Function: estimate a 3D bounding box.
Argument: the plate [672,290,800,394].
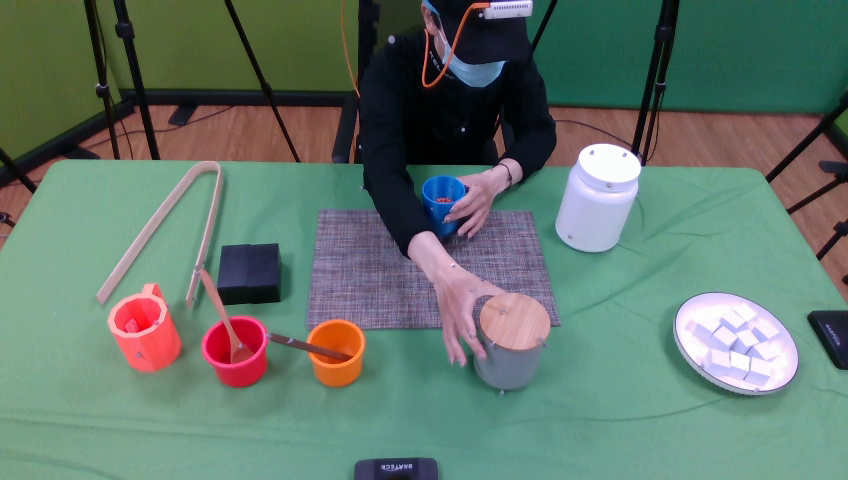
[{"bbox_3d":[0.533,0.179,1.050,0.208,0.039,0.206,2,46,-2],"label":"plate"}]

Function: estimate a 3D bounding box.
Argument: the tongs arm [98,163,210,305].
[{"bbox_3d":[-0.520,-0.026,1.184,0.028,0.028,0.385,4,45,13],"label":"tongs arm"}]

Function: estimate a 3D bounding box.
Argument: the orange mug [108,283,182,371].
[{"bbox_3d":[-0.446,0.134,0.982,0.083,0.101,0.125,-1,51,-5],"label":"orange mug"}]

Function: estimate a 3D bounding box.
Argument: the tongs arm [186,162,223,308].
[{"bbox_3d":[-0.436,-0.024,1.181,0.051,0.027,0.382,-3,45,1],"label":"tongs arm"}]

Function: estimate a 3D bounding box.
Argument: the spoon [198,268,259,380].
[{"bbox_3d":[-0.312,0.133,0.962,0.041,0.021,0.194,-24,96,-21],"label":"spoon"}]

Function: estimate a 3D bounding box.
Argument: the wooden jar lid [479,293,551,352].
[{"bbox_3d":[0.137,0.127,0.925,0.108,0.021,0.107,1,47,-1],"label":"wooden jar lid"}]

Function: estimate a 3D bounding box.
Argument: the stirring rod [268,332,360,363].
[{"bbox_3d":[-0.167,0.169,0.941,0.177,0.006,0.014,26,28,-41],"label":"stirring rod"}]

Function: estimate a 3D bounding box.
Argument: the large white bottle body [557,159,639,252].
[{"bbox_3d":[0.340,-0.081,1.185,0.131,0.185,0.130,2,46,-1],"label":"large white bottle body"}]

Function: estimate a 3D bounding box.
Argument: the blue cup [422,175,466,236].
[{"bbox_3d":[0.037,-0.064,1.200,0.092,0.101,0.092,1,45,-1],"label":"blue cup"}]

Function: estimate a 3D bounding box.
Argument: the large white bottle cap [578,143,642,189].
[{"bbox_3d":[0.344,-0.139,1.123,0.115,0.018,0.114,2,47,-2],"label":"large white bottle cap"}]

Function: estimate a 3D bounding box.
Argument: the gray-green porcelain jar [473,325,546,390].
[{"bbox_3d":[0.135,0.170,0.969,0.106,0.127,0.105,2,46,-2],"label":"gray-green porcelain jar"}]
